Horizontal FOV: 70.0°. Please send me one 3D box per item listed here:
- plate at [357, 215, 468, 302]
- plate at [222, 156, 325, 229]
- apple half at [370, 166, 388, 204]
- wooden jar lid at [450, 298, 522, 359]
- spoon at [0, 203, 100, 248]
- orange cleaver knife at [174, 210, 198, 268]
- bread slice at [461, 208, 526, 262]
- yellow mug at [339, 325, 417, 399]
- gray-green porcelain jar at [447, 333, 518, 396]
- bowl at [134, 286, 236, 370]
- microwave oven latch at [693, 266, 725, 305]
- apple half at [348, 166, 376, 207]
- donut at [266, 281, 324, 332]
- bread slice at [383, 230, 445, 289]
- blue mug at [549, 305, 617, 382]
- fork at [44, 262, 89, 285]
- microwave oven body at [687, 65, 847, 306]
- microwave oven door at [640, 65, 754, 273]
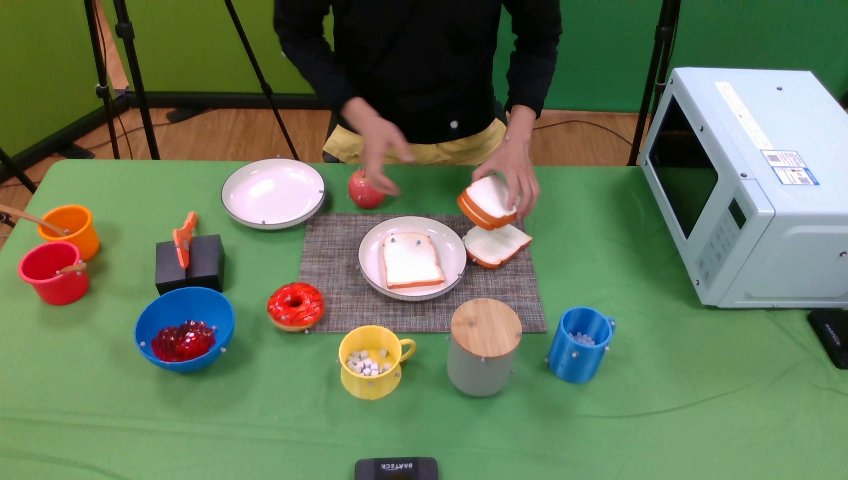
[{"bbox_3d":[-0.022,0.037,1.141,0.208,0.039,0.206,2,46,-2],"label":"plate"},{"bbox_3d":[-0.308,-0.095,1.251,0.209,0.038,0.208,2,47,-2],"label":"plate"},{"bbox_3d":[-0.091,-0.115,1.261,0.033,0.082,0.080,-9,48,-5],"label":"apple half"},{"bbox_3d":[0.093,0.135,0.914,0.108,0.021,0.107,3,48,-3],"label":"wooden jar lid"},{"bbox_3d":[-0.683,-0.031,1.088,0.195,0.021,0.041,33,33,-38],"label":"spoon"},{"bbox_3d":[-0.436,-0.006,1.127,0.012,0.077,0.210,-13,19,-8],"label":"orange cleaver knife"},{"bbox_3d":[0.127,-0.008,1.194,0.104,0.019,0.131,19,49,26],"label":"bread slice"},{"bbox_3d":[-0.072,0.190,0.978,0.131,0.064,0.099,-17,50,-20],"label":"yellow mug"},{"bbox_3d":[0.091,0.178,0.960,0.106,0.127,0.105,2,47,-2],"label":"gray-green porcelain jar"},{"bbox_3d":[-0.377,0.155,0.981,0.151,0.077,0.150,2,46,-2],"label":"bowl"},{"bbox_3d":[0.523,0.081,1.115,0.030,0.029,0.078,3,46,0],"label":"microwave oven latch"},{"bbox_3d":[-0.130,-0.109,1.254,0.053,0.075,0.080,-10,50,-7],"label":"apple half"},{"bbox_3d":[-0.222,0.115,1.049,0.099,0.048,0.098,2,45,-2],"label":"donut"},{"bbox_3d":[-0.028,0.035,1.145,0.107,0.018,0.133,-8,49,-12],"label":"bread slice"},{"bbox_3d":[0.269,0.166,0.998,0.116,0.106,0.082,-19,51,-21],"label":"blue mug"},{"bbox_3d":[-0.598,0.054,1.014,0.207,0.019,0.028,-15,28,45],"label":"fork"},{"bbox_3d":[0.669,-0.111,1.176,0.326,0.261,0.439,0,46,-3],"label":"microwave oven body"},{"bbox_3d":[0.523,-0.147,1.193,0.039,0.245,0.353,0,47,-3],"label":"microwave oven door"}]
